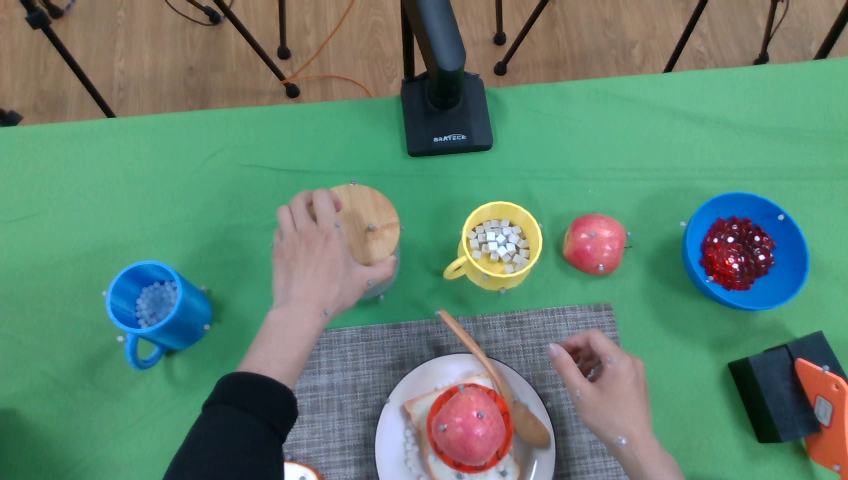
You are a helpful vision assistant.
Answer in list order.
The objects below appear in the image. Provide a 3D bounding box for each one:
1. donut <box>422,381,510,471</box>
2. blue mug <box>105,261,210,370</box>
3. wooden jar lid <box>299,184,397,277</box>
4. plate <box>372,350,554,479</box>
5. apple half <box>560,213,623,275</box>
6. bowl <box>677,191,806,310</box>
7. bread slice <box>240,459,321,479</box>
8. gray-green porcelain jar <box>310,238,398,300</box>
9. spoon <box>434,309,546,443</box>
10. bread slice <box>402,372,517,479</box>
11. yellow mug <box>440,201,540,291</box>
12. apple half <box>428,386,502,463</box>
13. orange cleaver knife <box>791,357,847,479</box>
[{"bbox_3d":[0.048,0.207,0.678,0.099,0.048,0.098,1,69,-2],"label":"donut"},{"bbox_3d":[-0.311,0.093,0.702,0.082,0.106,0.116,15,71,3],"label":"blue mug"},{"bbox_3d":[-0.083,-0.009,0.669,0.108,0.021,0.107,0,70,0],"label":"wooden jar lid"},{"bbox_3d":[0.044,0.233,0.699,0.208,0.039,0.206,1,71,-1],"label":"plate"},{"bbox_3d":[0.219,-0.001,0.781,0.074,0.053,0.080,15,72,6],"label":"apple half"},{"bbox_3d":[0.385,0.022,0.765,0.151,0.077,0.150,1,72,-1],"label":"bowl"},{"bbox_3d":[-0.167,0.314,0.676,0.105,0.019,0.130,2,72,-2],"label":"bread slice"},{"bbox_3d":[-0.084,0.012,0.728,0.106,0.127,0.105,1,71,-1],"label":"gray-green porcelain jar"},{"bbox_3d":[0.075,0.155,0.708,0.042,0.022,0.193,-25,75,-49],"label":"spoon"},{"bbox_3d":[0.049,0.232,0.704,0.107,0.018,0.133,-21,71,-9],"label":"bread slice"},{"bbox_3d":[0.078,0.015,0.764,0.131,0.064,0.099,-28,75,-10],"label":"yellow mug"},{"bbox_3d":[0.046,0.197,0.645,0.081,0.033,0.081,-1,75,4],"label":"apple half"},{"bbox_3d":[0.463,0.238,0.693,0.012,0.077,0.211,-15,94,-14],"label":"orange cleaver knife"}]
